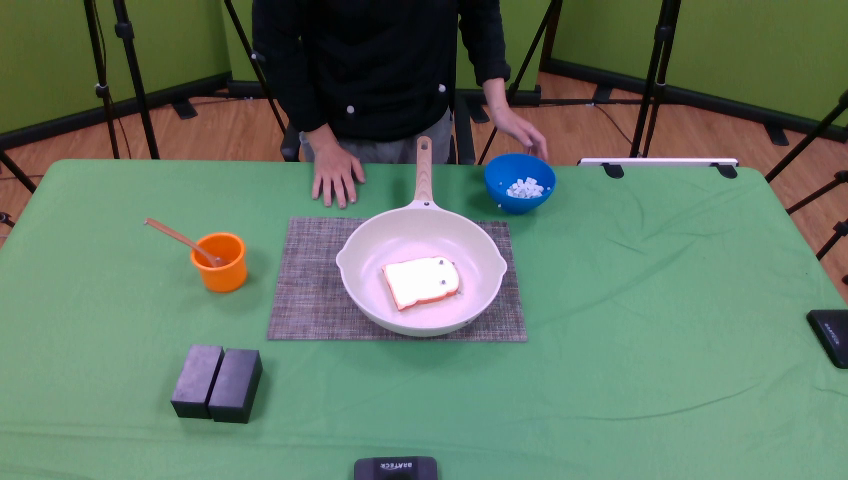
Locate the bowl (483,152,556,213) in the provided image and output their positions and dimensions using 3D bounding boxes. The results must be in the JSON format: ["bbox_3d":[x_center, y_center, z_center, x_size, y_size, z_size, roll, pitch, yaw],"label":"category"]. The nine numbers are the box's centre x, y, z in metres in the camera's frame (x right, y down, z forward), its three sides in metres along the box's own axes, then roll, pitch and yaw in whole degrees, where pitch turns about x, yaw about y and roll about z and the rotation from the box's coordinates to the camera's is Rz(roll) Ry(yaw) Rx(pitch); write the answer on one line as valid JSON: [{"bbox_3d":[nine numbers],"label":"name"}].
[{"bbox_3d":[0.195,-0.110,1.280,0.151,0.077,0.150,2,46,-2],"label":"bowl"}]

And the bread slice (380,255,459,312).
[{"bbox_3d":[-0.005,0.074,1.119,0.134,0.018,0.106,-16,50,-16],"label":"bread slice"}]

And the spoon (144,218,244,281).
[{"bbox_3d":[-0.401,0.015,1.064,0.195,0.021,0.041,41,37,-29],"label":"spoon"}]

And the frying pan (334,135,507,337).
[{"bbox_3d":[-0.004,-0.026,1.160,0.307,0.103,0.485,4,55,-2],"label":"frying pan"}]
